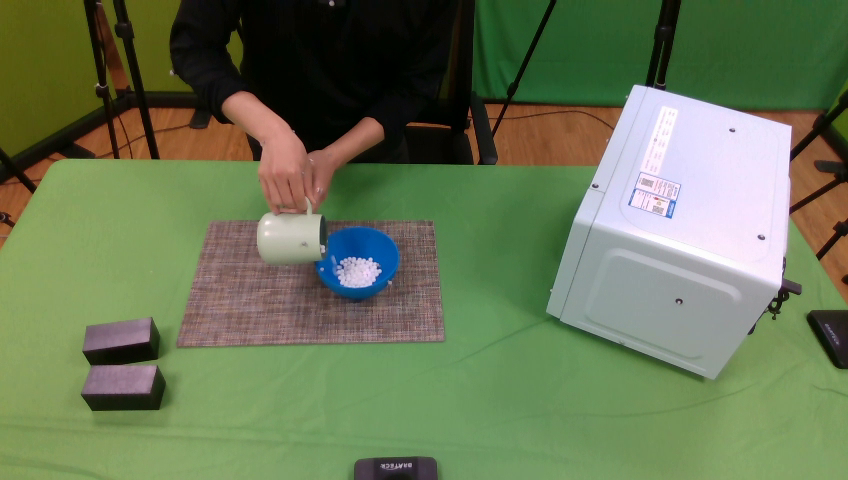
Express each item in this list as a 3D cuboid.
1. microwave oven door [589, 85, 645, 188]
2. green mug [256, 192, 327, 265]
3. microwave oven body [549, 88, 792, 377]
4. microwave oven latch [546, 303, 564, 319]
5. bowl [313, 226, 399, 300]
[{"bbox_3d":[0.342,-0.107,1.149,0.039,0.245,0.354,20,48,15],"label":"microwave oven door"},{"bbox_3d":[-0.225,-0.020,1.028,0.105,0.125,0.092,-1,17,2],"label":"green mug"},{"bbox_3d":[0.456,-0.028,1.088,0.325,0.261,0.440,20,47,16],"label":"microwave oven body"},{"bbox_3d":[0.242,0.102,1.081,0.030,0.029,0.079,21,48,17],"label":"microwave oven latch"},{"bbox_3d":[-0.121,0.055,1.091,0.151,0.077,0.150,2,46,-2],"label":"bowl"}]
